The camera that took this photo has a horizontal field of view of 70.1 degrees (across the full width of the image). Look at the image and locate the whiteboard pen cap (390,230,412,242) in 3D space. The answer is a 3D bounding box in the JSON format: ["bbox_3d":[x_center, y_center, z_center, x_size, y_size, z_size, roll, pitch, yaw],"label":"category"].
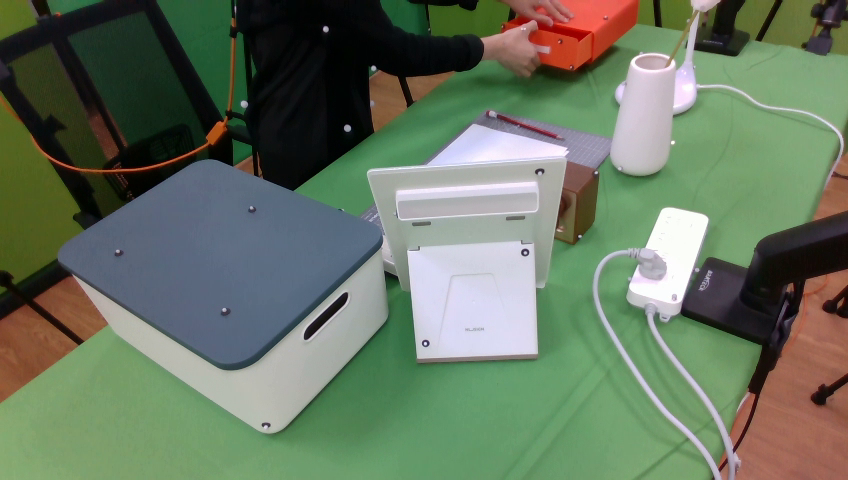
[{"bbox_3d":[-0.037,-0.006,0.980,0.033,0.018,0.018,9,43,17],"label":"whiteboard pen cap"}]

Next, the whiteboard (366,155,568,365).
[{"bbox_3d":[0.059,0.049,0.738,0.217,0.307,0.143,-3,60,5],"label":"whiteboard"}]

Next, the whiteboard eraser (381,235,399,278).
[{"bbox_3d":[-0.066,0.022,0.945,0.112,0.042,0.056,20,49,28],"label":"whiteboard eraser"}]

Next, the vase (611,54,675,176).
[{"bbox_3d":[0.377,-0.209,1.031,0.098,0.201,0.097,-3,40,3],"label":"vase"}]

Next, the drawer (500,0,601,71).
[{"bbox_3d":[0.311,-0.472,1.369,0.193,0.073,0.212,26,49,33],"label":"drawer"}]

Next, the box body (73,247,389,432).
[{"bbox_3d":[-0.255,0.065,0.827,0.361,0.161,0.255,21,48,29],"label":"box body"}]

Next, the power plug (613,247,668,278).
[{"bbox_3d":[0.306,0.032,0.851,0.072,0.053,0.035,24,49,34],"label":"power plug"}]

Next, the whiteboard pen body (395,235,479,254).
[{"bbox_3d":[0.019,0.005,0.962,0.140,0.017,0.017,9,43,17],"label":"whiteboard pen body"}]

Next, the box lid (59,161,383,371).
[{"bbox_3d":[-0.262,0.010,0.777,0.369,0.015,0.264,21,48,29],"label":"box lid"}]

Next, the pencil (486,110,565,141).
[{"bbox_3d":[0.204,-0.232,1.226,0.192,0.012,0.012,29,52,33],"label":"pencil"}]

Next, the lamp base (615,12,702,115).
[{"bbox_3d":[0.484,-0.364,1.211,0.180,0.181,0.159,-15,41,-14],"label":"lamp base"}]

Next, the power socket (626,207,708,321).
[{"bbox_3d":[0.359,0.025,0.886,0.072,0.033,0.227,16,46,26],"label":"power socket"}]

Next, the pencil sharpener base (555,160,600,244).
[{"bbox_3d":[0.228,-0.057,0.945,0.061,0.107,0.077,24,50,31],"label":"pencil sharpener base"}]

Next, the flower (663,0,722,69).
[{"bbox_3d":[0.379,-0.261,0.965,0.044,0.362,0.038,20,53,5],"label":"flower"}]

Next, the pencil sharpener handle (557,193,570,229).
[{"bbox_3d":[0.195,-0.038,0.908,0.035,0.068,0.031,24,50,30],"label":"pencil sharpener handle"}]

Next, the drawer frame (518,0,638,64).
[{"bbox_3d":[0.353,-0.506,1.408,0.200,0.083,0.214,25,52,33],"label":"drawer frame"}]
